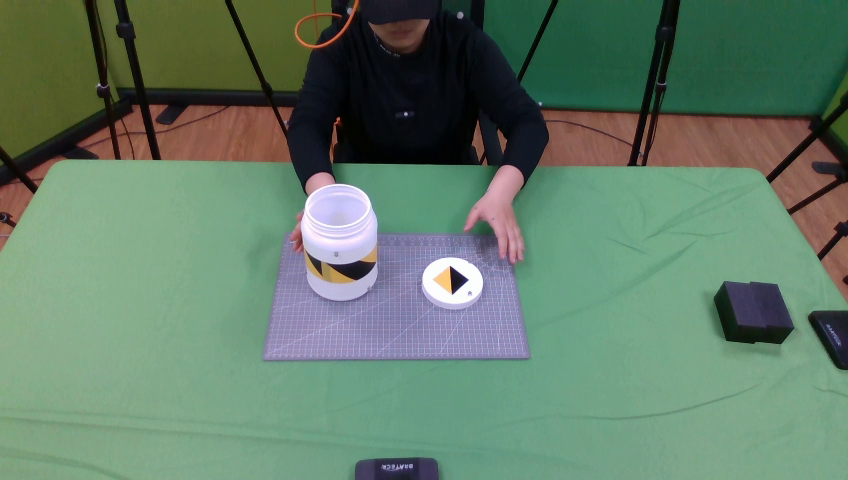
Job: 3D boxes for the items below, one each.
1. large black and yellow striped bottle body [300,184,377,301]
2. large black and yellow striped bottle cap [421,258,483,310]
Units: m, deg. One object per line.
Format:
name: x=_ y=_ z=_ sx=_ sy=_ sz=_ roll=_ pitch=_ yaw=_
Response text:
large black and yellow striped bottle body: x=-0.148 y=0.004 z=1.067 sx=0.131 sy=0.185 sz=0.130 roll=2 pitch=46 yaw=-2
large black and yellow striped bottle cap: x=0.053 y=0.081 z=1.126 sx=0.115 sy=0.019 sz=0.114 roll=2 pitch=46 yaw=-1
